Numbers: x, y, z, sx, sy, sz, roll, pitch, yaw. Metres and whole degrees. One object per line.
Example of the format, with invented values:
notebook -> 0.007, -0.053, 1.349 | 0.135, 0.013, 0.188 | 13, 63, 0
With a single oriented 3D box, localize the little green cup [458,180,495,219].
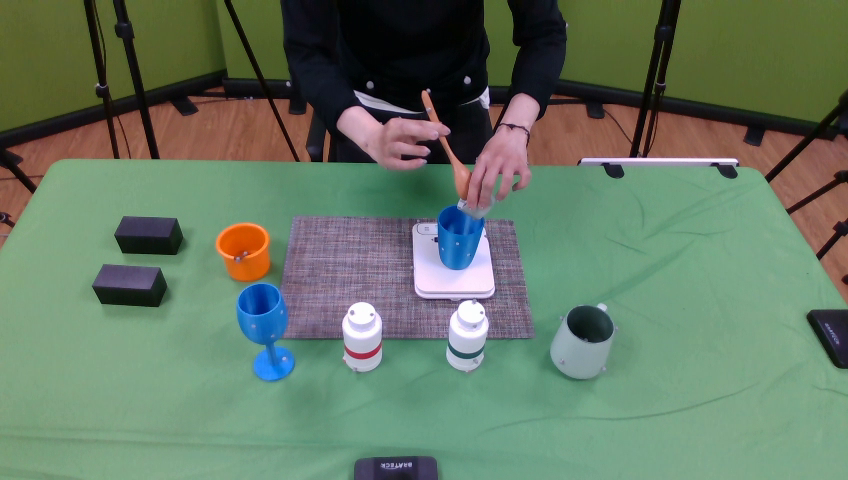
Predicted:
little green cup -> 0.091, -0.067, 1.030 | 0.039, 0.061, 0.061 | 37, 49, -6

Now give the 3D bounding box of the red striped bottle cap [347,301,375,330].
red striped bottle cap -> -0.097, 0.116, 0.934 | 0.044, 0.018, 0.044 | 2, 48, -2

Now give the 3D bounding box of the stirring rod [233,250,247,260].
stirring rod -> -0.323, 0.026, 1.067 | 0.014, 0.006, 0.176 | -8, 4, -13

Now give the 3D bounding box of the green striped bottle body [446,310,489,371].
green striped bottle body -> 0.071, 0.155, 0.984 | 0.063, 0.120, 0.063 | 2, 46, -2

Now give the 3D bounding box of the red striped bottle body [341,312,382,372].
red striped bottle body -> -0.100, 0.154, 0.972 | 0.063, 0.120, 0.062 | 1, 46, -1

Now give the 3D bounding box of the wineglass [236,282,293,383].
wineglass -> -0.243, 0.143, 0.934 | 0.074, 0.173, 0.073 | 2, 46, -2

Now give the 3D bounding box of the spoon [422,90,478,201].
spoon -> 0.039, -0.153, 0.990 | 0.041, 0.194, 0.021 | -31, 12, -17

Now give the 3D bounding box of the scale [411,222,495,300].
scale -> 0.052, 0.031, 1.158 | 0.149, 0.032, 0.199 | 1, 46, -4

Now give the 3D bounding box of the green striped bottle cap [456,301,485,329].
green striped bottle cap -> 0.073, 0.116, 0.943 | 0.044, 0.020, 0.044 | 3, 46, -3

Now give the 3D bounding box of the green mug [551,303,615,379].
green mug -> 0.271, 0.158, 1.007 | 0.092, 0.105, 0.125 | 27, 50, 21

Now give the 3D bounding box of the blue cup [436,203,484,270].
blue cup -> 0.061, -0.001, 1.099 | 0.093, 0.101, 0.092 | 2, 44, -2
